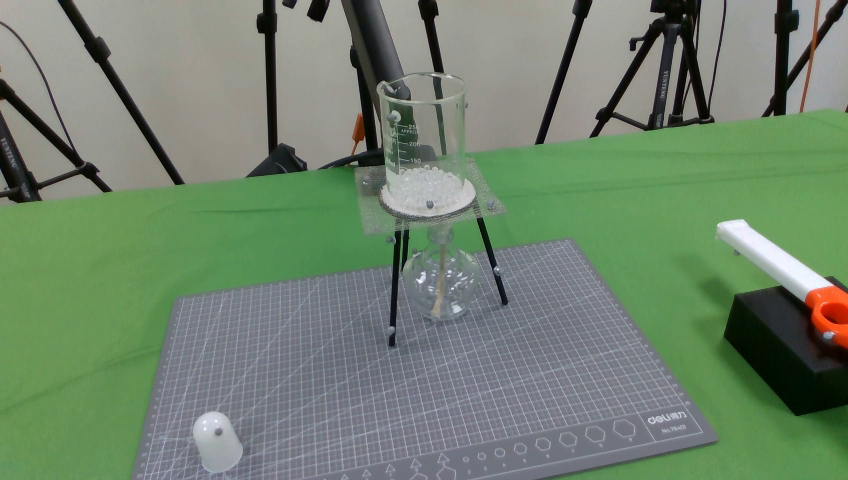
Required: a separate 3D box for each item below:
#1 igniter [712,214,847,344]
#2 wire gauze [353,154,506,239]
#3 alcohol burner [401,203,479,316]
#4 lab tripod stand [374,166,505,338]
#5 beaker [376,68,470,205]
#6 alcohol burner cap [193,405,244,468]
[{"bbox_3d":[0.339,0.049,0.511,0.057,0.025,0.273,-10,31,-8],"label":"igniter"},{"bbox_3d":[0.000,-0.047,0.546,0.121,0.011,0.123,-8,36,-7],"label":"wire gauze"},{"bbox_3d":[0.016,0.015,0.588,0.078,0.120,0.077,-1,36,1],"label":"alcohol burner"},{"bbox_3d":[0.007,0.005,0.586,0.148,0.132,0.147,-1,33,1],"label":"lab tripod stand"},{"bbox_3d":[-0.003,-0.088,0.519,0.074,0.101,0.083,-30,42,-35],"label":"beaker"},{"bbox_3d":[-0.160,0.148,0.468,0.034,0.048,0.033,-2,35,2],"label":"alcohol burner cap"}]
